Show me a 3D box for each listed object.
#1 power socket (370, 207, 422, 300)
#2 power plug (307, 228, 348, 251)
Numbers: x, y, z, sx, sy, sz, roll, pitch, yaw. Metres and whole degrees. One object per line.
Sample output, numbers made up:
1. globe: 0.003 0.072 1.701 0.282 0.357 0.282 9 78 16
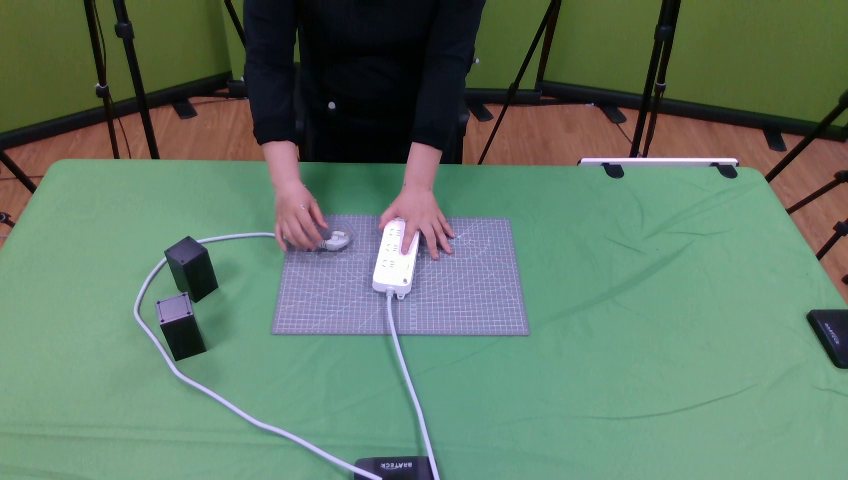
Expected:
1. power socket: -0.051 0.017 1.165 0.072 0.033 0.225 7 46 4
2. power plug: -0.183 -0.006 1.172 0.072 0.035 0.052 17 46 0
